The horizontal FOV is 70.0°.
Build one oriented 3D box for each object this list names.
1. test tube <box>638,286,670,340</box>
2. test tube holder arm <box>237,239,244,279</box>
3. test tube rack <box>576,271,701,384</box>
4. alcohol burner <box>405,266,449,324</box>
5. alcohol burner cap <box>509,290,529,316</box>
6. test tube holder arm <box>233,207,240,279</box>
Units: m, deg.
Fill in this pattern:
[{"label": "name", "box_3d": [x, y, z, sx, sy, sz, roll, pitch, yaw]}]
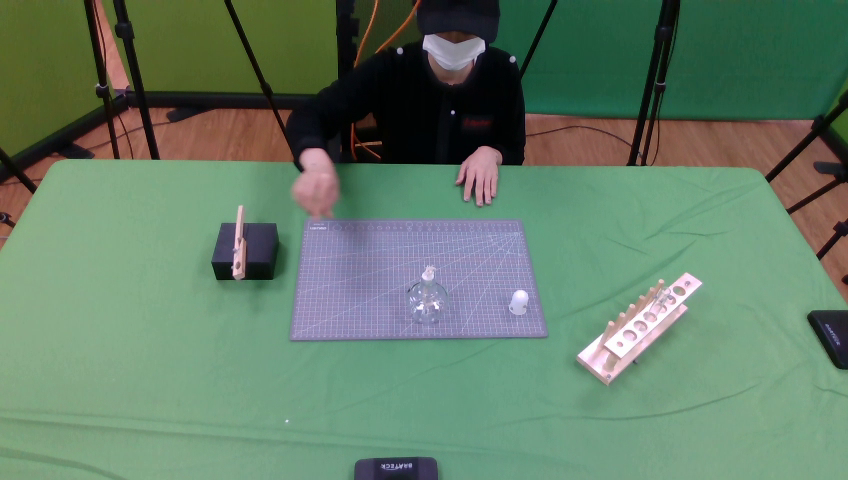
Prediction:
[{"label": "test tube", "box_3d": [0.373, 0.123, 0.994, 0.017, 0.151, 0.017, 0, 51, 0]}, {"label": "test tube holder arm", "box_3d": [-0.326, 0.032, 1.076, 0.010, 0.015, 0.087, -10, 47, -7]}, {"label": "test tube rack", "box_3d": [0.373, 0.138, 1.047, 0.242, 0.085, 0.066, -31, 56, -29]}, {"label": "alcohol burner", "box_3d": [0.005, 0.089, 1.043, 0.078, 0.120, 0.077, 1, 45, -1]}, {"label": "alcohol burner cap", "box_3d": [0.171, 0.110, 1.086, 0.034, 0.048, 0.033, 2, 46, -1]}, {"label": "test tube holder arm", "box_3d": [-0.341, 0.002, 1.106, 0.013, 0.015, 0.177, -11, 47, -8]}]
